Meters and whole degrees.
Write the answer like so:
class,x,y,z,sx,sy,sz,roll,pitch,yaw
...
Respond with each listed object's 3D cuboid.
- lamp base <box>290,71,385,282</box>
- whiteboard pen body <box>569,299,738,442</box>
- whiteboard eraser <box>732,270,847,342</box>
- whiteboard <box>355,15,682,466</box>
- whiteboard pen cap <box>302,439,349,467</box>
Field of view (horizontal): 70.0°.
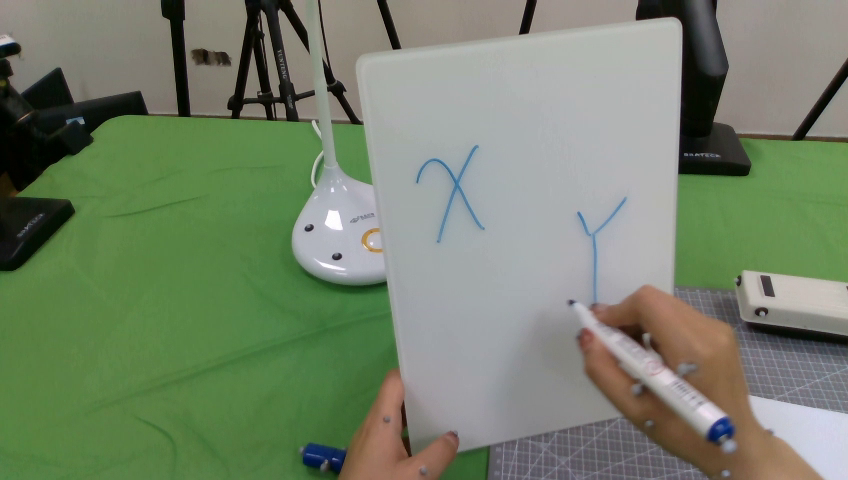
class,x,y,z,sx,sy,sz,roll,pitch,yaw
lamp base,-0.079,-0.074,0.637,0.161,0.182,0.177,-28,43,-29
whiteboard pen body,0.129,0.070,0.365,0.017,0.017,0.139,-17,30,-17
whiteboard eraser,0.346,0.061,0.554,0.112,0.042,0.055,8,41,13
whiteboard,0.069,-0.008,0.492,0.217,0.307,0.142,-9,20,-7
whiteboard pen cap,-0.076,0.165,0.468,0.033,0.018,0.018,5,39,11
